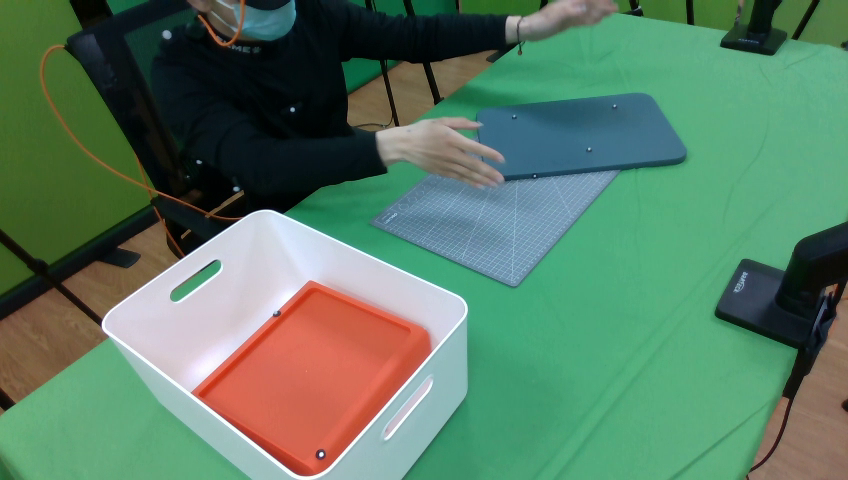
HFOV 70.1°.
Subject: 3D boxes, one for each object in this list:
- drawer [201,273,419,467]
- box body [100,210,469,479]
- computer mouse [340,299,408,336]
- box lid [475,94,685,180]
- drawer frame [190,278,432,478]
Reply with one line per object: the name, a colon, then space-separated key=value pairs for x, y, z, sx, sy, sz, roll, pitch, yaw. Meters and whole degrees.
drawer: x=-0.135 y=0.167 z=0.727 sx=0.193 sy=0.073 sz=0.211 roll=20 pitch=63 yaw=23
box body: x=-0.152 y=0.140 z=0.722 sx=0.361 sy=0.161 sz=0.255 roll=22 pitch=49 yaw=30
computer mouse: x=-0.074 y=0.109 z=0.773 sx=0.117 sy=0.041 sz=0.062 roll=-10 pitch=43 yaw=6
box lid: x=0.288 y=-0.207 z=1.181 sx=0.371 sy=0.015 sz=0.262 roll=-5 pitch=40 yaw=2
drawer frame: x=-0.129 y=0.167 z=0.738 sx=0.200 sy=0.083 sz=0.214 roll=19 pitch=48 yaw=27
